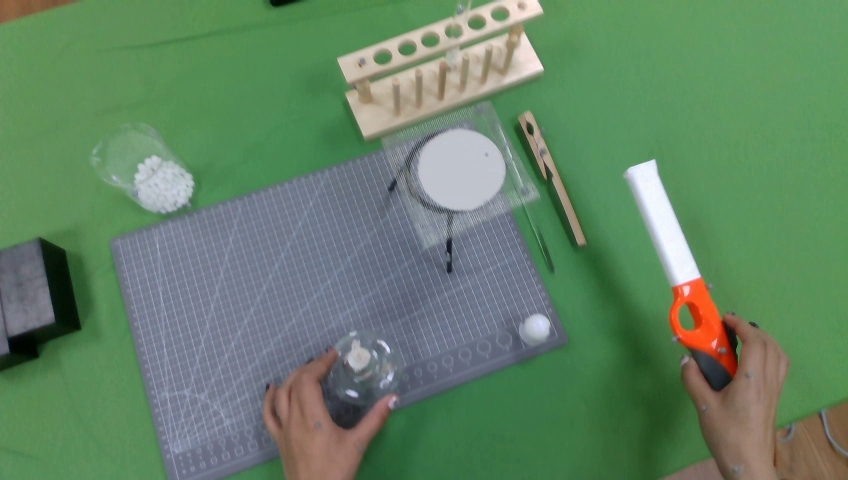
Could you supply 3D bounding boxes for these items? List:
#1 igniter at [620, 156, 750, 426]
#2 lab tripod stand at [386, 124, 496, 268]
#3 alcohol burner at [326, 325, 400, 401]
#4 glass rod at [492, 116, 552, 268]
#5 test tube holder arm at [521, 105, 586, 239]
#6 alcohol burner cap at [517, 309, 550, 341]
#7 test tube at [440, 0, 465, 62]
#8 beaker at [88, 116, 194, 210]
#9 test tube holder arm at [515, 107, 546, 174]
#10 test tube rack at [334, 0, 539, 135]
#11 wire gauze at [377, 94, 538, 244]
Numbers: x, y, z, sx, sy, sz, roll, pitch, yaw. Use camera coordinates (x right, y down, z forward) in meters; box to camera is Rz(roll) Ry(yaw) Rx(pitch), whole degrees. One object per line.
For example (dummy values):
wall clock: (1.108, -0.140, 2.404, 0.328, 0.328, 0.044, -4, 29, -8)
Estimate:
igniter: (0.261, 0.048, 0.608, 0.057, 0.025, 0.275, -18, 83, -6)
lab tripod stand: (0.019, -0.056, 0.653, 0.148, 0.132, 0.147, 0, 75, 2)
alcohol burner: (-0.064, 0.121, 0.611, 0.078, 0.120, 0.077, 0, 72, 1)
glass rod: (0.116, -0.060, 0.723, 0.008, 0.008, 0.198, -17, 78, -6)
test tube holder arm: (0.153, -0.083, 0.723, 0.013, 0.015, 0.177, -29, 74, 27)
alcohol burner cap: (0.120, 0.090, 0.659, 0.034, 0.048, 0.033, 0, 73, -1)
test tube: (0.034, -0.250, 0.685, 0.017, 0.151, 0.017, 2, 71, -5)
beaker: (-0.311, -0.081, 0.677, 0.084, 0.101, 0.073, -2, 73, 0)
test tube holder arm: (0.133, -0.121, 0.736, 0.010, 0.015, 0.087, -29, 74, 27)
test tube rack: (0.022, -0.215, 0.726, 0.242, 0.085, 0.066, -22, 75, -7)
wire gauze: (0.031, -0.074, 0.588, 0.121, 0.011, 0.124, -22, 75, -5)
